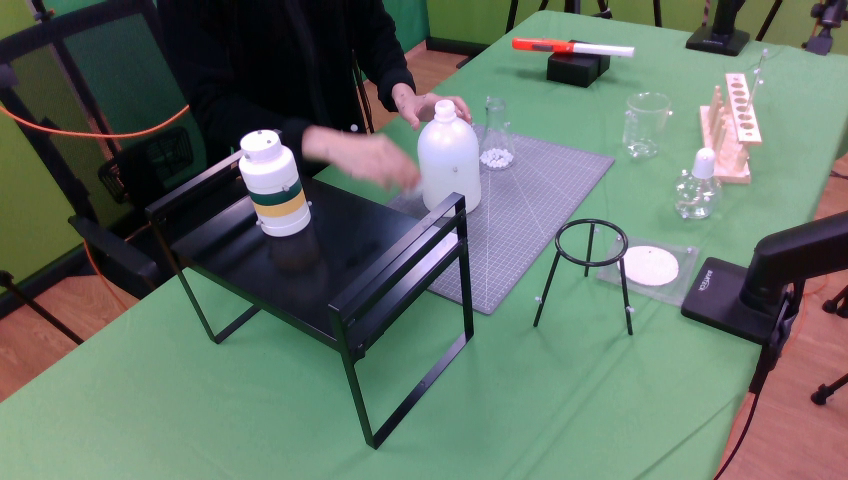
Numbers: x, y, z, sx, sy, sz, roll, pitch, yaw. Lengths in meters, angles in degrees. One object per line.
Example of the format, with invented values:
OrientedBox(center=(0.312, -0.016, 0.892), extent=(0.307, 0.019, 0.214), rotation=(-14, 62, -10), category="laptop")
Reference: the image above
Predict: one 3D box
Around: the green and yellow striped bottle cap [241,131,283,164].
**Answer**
OrientedBox(center=(-0.187, -0.107, 0.695), extent=(0.045, 0.020, 0.045), rotation=(-4, 39, 4), category="green and yellow striped bottle cap")

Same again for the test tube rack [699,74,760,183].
OrientedBox(center=(0.547, -0.208, 1.095), extent=(0.066, 0.085, 0.242), rotation=(6, 42, 15), category="test tube rack")

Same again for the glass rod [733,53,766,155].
OrientedBox(center=(0.540, -0.220, 1.007), extent=(0.008, 0.201, 0.008), rotation=(-5, 46, 6), category="glass rod")

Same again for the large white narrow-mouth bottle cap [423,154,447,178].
OrientedBox(center=(0.017, -0.112, 0.916), extent=(0.038, 0.024, 0.037), rotation=(-3, 39, 3), category="large white narrow-mouth bottle cap")

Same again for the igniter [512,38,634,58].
OrientedBox(center=(0.328, -0.433, 1.360), extent=(0.275, 0.025, 0.057), rotation=(12, 33, 20), category="igniter")

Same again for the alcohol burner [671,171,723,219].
OrientedBox(center=(0.434, -0.093, 0.955), extent=(0.078, 0.119, 0.077), rotation=(-3, 43, 4), category="alcohol burner")

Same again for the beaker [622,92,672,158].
OrientedBox(center=(0.402, -0.210, 1.106), extent=(0.074, 0.101, 0.083), rotation=(-8, 40, -2), category="beaker")

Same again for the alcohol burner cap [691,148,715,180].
OrientedBox(center=(0.432, -0.120, 0.930), extent=(0.034, 0.048, 0.033), rotation=(-7, 48, 8), category="alcohol burner cap")

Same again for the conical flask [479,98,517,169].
OrientedBox(center=(0.133, -0.198, 1.108), extent=(0.075, 0.122, 0.075), rotation=(-4, 41, 4), category="conical flask")

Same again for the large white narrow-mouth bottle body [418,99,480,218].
OrientedBox(center=(0.041, -0.139, 0.998), extent=(0.102, 0.195, 0.101), rotation=(-3, 40, 3), category="large white narrow-mouth bottle body")

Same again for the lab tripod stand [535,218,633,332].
OrientedBox(center=(0.215, 0.050, 0.803), extent=(0.148, 0.132, 0.147), rotation=(-4, 42, 4), category="lab tripod stand")

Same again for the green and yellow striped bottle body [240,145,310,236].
OrientedBox(center=(-0.181, -0.068, 0.729), extent=(0.063, 0.120, 0.063), rotation=(-4, 40, 4), category="green and yellow striped bottle body")

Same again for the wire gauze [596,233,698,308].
OrientedBox(center=(0.331, 0.038, 0.897), extent=(0.124, 0.011, 0.121), rotation=(18, 47, 26), category="wire gauze")
